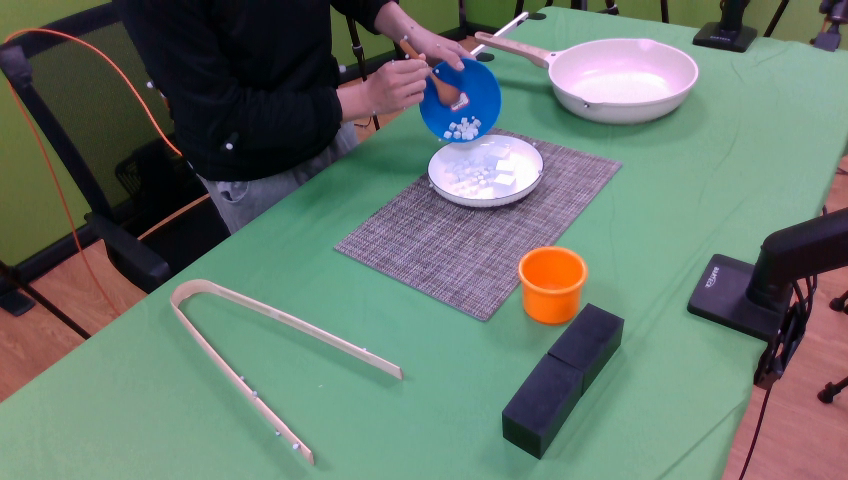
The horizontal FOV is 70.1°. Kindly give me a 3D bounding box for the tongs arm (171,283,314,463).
[{"bbox_3d":[-0.246,0.161,0.806,0.381,0.026,0.051,29,51,36],"label":"tongs arm"}]

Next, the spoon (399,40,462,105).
[{"bbox_3d":[0.011,-0.290,1.056,0.041,0.195,0.021,-32,53,20],"label":"spoon"}]

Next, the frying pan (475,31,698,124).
[{"bbox_3d":[0.320,-0.371,1.290,0.485,0.103,0.307,28,50,23],"label":"frying pan"}]

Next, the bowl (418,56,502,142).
[{"bbox_3d":[0.067,-0.259,1.117,0.151,0.151,0.077,-4,13,4],"label":"bowl"}]

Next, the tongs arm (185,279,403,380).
[{"bbox_3d":[-0.194,0.120,0.853,0.385,0.028,0.028,18,49,26],"label":"tongs arm"}]

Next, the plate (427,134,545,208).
[{"bbox_3d":[0.110,-0.119,1.073,0.207,0.039,0.206,-4,41,4],"label":"plate"}]
